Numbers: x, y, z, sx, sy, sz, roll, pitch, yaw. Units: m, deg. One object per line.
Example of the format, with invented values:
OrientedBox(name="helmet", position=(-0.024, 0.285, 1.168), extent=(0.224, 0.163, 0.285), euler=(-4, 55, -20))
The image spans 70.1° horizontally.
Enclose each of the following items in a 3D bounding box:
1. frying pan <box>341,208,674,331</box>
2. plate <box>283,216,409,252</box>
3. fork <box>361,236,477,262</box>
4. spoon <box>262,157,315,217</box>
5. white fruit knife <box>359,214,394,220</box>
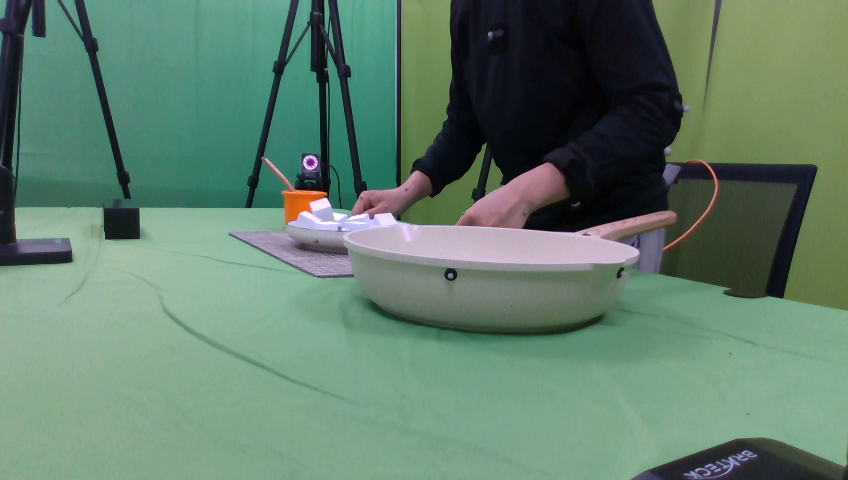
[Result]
OrientedBox(name="frying pan", position=(0.144, 0.008, 0.677), extent=(0.490, 0.102, 0.305), euler=(-13, 16, -36))
OrientedBox(name="plate", position=(-0.119, -0.009, 0.968), extent=(0.208, 0.039, 0.207), euler=(2, 7, 0))
OrientedBox(name="fork", position=(0.000, 0.009, 0.878), extent=(0.208, 0.018, 0.028), euler=(-12, 21, -36))
OrientedBox(name="spoon", position=(-0.276, -0.103, 1.251), extent=(0.021, 0.193, 0.042), euler=(-43, -15, 22))
OrientedBox(name="white fruit knife", position=(-0.147, -0.027, 1.105), extent=(0.208, 0.027, 0.016), euler=(-9, -24, -31))
